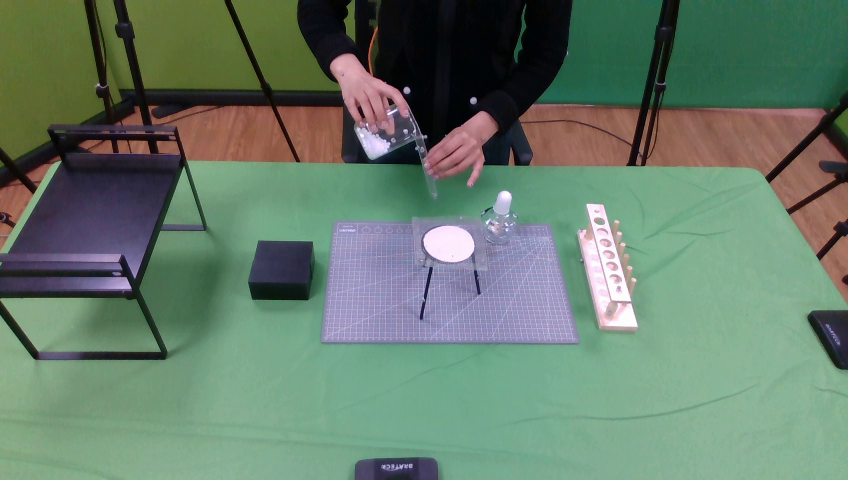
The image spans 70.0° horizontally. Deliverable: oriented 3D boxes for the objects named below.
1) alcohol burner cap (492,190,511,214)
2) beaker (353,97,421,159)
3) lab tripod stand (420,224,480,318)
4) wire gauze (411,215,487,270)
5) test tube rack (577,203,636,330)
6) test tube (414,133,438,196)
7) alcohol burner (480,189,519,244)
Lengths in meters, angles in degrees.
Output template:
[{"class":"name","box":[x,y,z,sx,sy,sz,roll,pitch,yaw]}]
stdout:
[{"class":"alcohol burner cap","box":[0.151,-0.076,1.166,0.034,0.048,0.033,5,52,-6]},{"class":"beaker","box":[-0.063,-0.187,1.039,0.100,0.084,0.073,-26,54,0]},{"class":"lab tripod stand","box":[0.034,0.051,1.071,0.148,0.132,0.147,3,48,-3]},{"class":"wire gauze","box":[0.041,0.002,1.026,0.125,0.011,0.120,1,46,-3]},{"class":"test tube rack","box":[0.348,0.045,1.138,0.067,0.085,0.241,2,46,-2]},{"class":"test tube","box":[0.004,-0.137,1.126,0.017,0.151,0.017,-8,47,9]},{"class":"alcohol burner","box":[0.150,-0.051,1.191,0.078,0.120,0.077,1,47,-1]}]
